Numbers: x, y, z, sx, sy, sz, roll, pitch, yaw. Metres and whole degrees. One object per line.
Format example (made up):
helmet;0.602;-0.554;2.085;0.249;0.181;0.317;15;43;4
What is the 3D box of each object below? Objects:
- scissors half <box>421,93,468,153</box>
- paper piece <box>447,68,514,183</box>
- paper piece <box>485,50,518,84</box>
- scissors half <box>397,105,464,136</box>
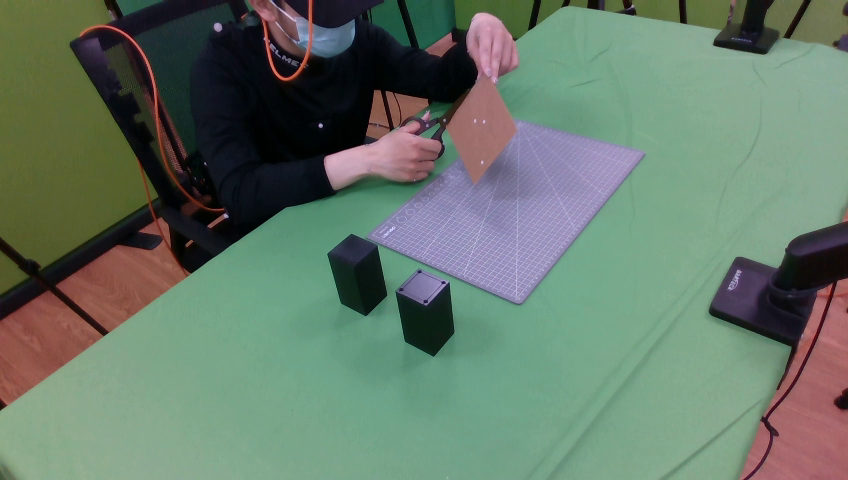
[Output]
scissors half;0.039;-0.206;1.077;0.040;0.175;0.013;23;57;-10
paper piece;0.090;-0.187;0.998;0.004;0.135;0.135;-2;57;-32
paper piece;0.103;-0.275;1.085;0.008;0.135;0.138;47;43;2
scissors half;0.021;-0.218;1.067;0.174;0.040;0.013;-11;52;34
